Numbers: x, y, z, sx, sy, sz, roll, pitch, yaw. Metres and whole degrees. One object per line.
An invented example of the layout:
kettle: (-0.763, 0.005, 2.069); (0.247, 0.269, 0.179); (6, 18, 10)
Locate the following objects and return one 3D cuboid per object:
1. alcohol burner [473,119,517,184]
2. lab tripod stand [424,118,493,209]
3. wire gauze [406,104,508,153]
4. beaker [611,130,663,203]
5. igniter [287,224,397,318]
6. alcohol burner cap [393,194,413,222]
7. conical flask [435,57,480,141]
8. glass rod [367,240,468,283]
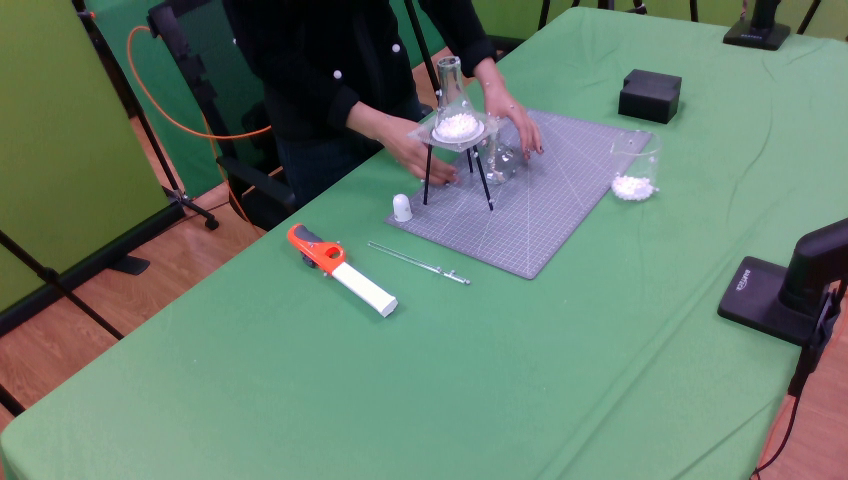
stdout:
alcohol burner: (0.126, -0.160, 1.073); (0.078, 0.119, 0.077); (-5, 38, 4)
lab tripod stand: (0.061, -0.133, 1.038); (0.148, 0.132, 0.147); (-6, 38, 6)
wire gauze: (0.054, -0.183, 0.997); (0.120, 0.011, 0.125); (25, 53, 38)
beaker: (0.346, -0.118, 0.998); (0.084, 0.101, 0.073); (-17, 40, -7)
igniter: (-0.139, 0.042, 0.958); (0.057, 0.025, 0.274); (-42, 49, -19)
alcohol burner cap: (-0.039, -0.057, 1.038); (0.034, 0.048, 0.033); (-6, 40, 5)
conical flask: (0.046, -0.225, 0.955); (0.075, 0.122, 0.075); (-7, 39, 6)
glass rod: (-0.014, 0.032, 0.959); (0.198, 0.008, 0.008); (21, 49, 30)
